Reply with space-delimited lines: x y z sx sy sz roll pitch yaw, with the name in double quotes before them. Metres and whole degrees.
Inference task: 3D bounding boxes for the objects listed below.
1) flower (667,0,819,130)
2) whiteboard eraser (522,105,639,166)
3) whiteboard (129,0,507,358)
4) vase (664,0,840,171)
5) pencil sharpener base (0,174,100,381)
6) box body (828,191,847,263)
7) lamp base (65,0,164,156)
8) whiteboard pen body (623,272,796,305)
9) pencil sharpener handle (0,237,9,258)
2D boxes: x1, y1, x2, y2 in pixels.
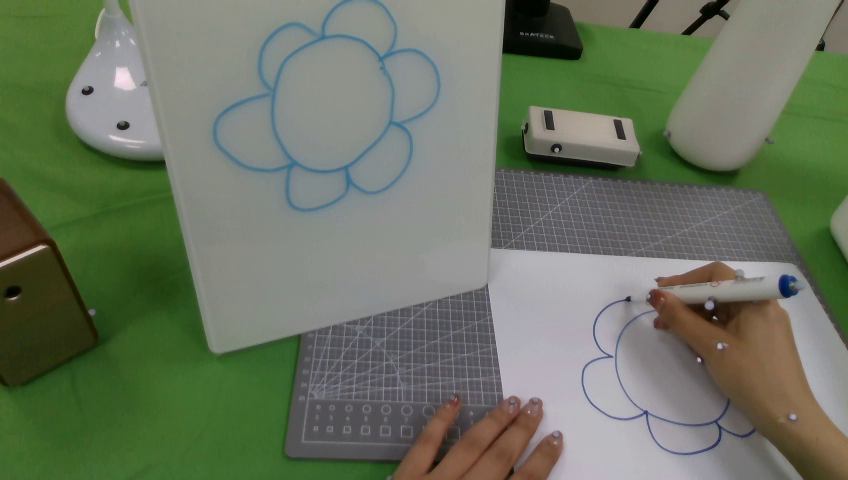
"flower" 0.339 -0.207 0.525 0.044 0.362 0.038 -17 71 -32
"whiteboard eraser" 0.157 -0.104 0.617 0.113 0.042 0.055 5 46 -5
"whiteboard" -0.072 -0.103 0.432 0.218 0.308 0.142 -11 32 -19
"vase" 0.319 -0.164 0.594 0.098 0.201 0.097 6 48 -6
"pencil sharpener base" -0.261 0.024 0.377 0.061 0.108 0.076 -33 61 -32
"box body" 0.521 0.064 0.454 0.254 0.161 0.360 5 48 -5
"lamp base" -0.250 -0.192 0.524 0.178 0.181 0.160 35 51 23
"whiteboard pen body" 0.201 0.038 0.445 0.017 0.140 0.017 5 79 -28
"pencil sharpener handle" -0.294 -0.015 0.390 0.036 0.068 0.030 -37 63 -25
